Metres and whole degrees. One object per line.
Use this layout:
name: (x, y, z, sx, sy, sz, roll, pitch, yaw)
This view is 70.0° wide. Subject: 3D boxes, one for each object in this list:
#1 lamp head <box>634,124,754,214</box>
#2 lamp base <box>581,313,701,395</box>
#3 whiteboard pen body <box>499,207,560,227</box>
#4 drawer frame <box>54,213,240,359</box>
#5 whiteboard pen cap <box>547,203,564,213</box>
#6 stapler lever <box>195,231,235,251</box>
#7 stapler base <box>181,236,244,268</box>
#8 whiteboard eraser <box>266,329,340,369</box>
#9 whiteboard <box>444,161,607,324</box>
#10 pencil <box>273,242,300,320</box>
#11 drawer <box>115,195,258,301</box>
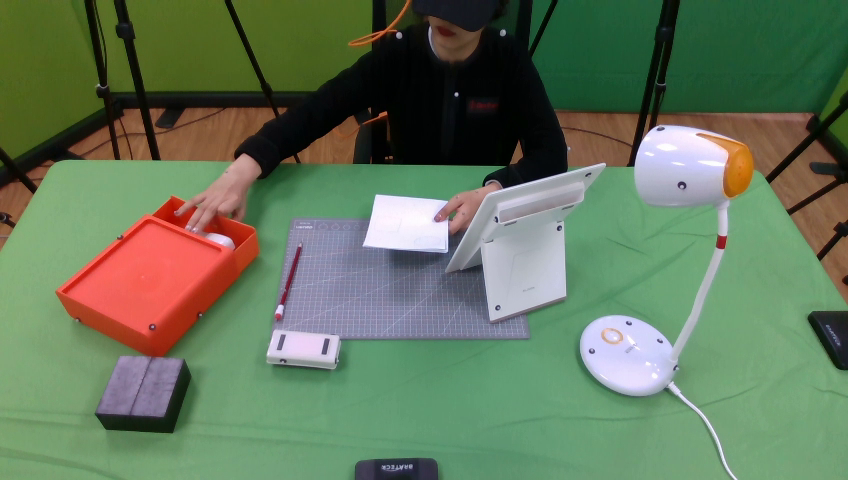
lamp head: (0.351, -0.089, 0.776, 0.112, 0.113, 0.122, -30, 30, -28)
lamp base: (0.361, 0.144, 0.973, 0.178, 0.181, 0.160, 34, 53, 23)
whiteboard pen body: (0.222, -0.051, 1.259, 0.141, 0.017, 0.017, -15, 49, -16)
drawer frame: (-0.469, 0.072, 1.050, 0.201, 0.083, 0.213, 21, 49, 14)
whiteboard pen cap: (0.277, -0.066, 1.275, 0.033, 0.018, 0.018, -18, 50, -15)
stapler lever: (-0.403, 0.002, 1.123, 0.118, 0.040, 0.026, 17, 50, 18)
stapler base: (-0.400, 0.017, 1.139, 0.130, 0.024, 0.041, 15, 49, 21)
whiteboard eraser: (-0.198, 0.181, 0.994, 0.113, 0.042, 0.055, 5, 45, 1)
whiteboard: (0.186, 0.025, 1.029, 0.217, 0.306, 0.143, -15, 68, -18)
pencil: (-0.249, 0.071, 1.115, 0.012, 0.012, 0.193, 5, 43, 1)
drawer: (-0.442, 0.032, 1.092, 0.194, 0.073, 0.211, 21, 48, 15)
